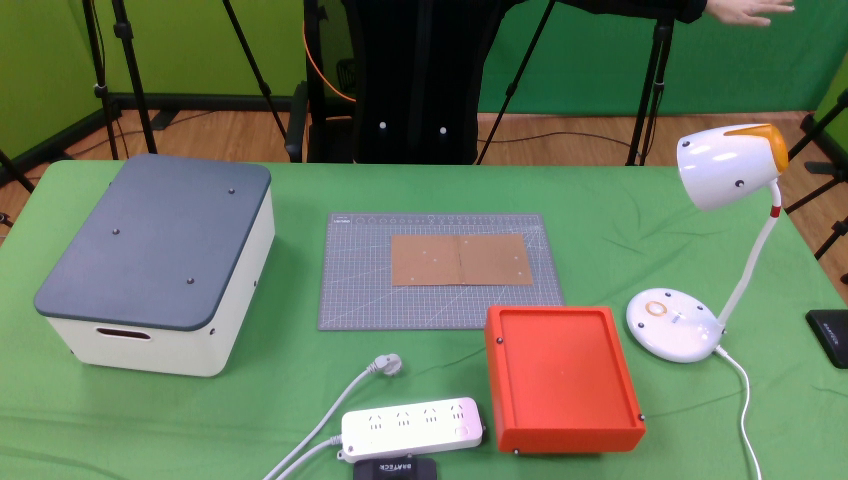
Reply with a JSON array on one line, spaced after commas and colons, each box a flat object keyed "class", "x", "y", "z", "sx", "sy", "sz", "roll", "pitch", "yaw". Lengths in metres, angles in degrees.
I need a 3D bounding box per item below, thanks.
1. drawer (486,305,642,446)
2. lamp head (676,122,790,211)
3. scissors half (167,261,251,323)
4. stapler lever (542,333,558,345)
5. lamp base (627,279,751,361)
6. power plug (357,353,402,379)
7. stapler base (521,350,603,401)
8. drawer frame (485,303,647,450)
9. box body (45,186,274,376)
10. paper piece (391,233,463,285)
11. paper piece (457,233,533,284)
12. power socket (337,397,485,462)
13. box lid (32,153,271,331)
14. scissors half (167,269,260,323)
[{"class": "drawer", "x": 0.202, "y": 0.200, "z": 0.919, "sx": 0.195, "sy": 0.073, "sz": 0.210, "roll": 2, "pitch": 47, "yaw": -4}, {"class": "lamp head", "x": 0.423, "y": -0.104, "z": 0.819, "sx": 0.122, "sy": 0.113, "sz": 0.112, "roll": -13, "pitch": 33, "yaw": 40}, {"class": "scissors half", "x": -0.383, "y": 0.091, "z": 1.080, "sx": 0.040, "sy": 0.013, "sz": 0.175, "roll": 25, "pitch": 52, "yaw": 29}, {"class": "stapler lever", "x": 0.225, "y": 0.181, "z": 0.928, "sx": 0.118, "sy": 0.040, "sz": 0.027, "roll": 27, "pitch": 34, "yaw": 15}, {"class": "lamp base", "x": 0.460, "y": 0.100, "z": 1.027, "sx": 0.178, "sy": 0.181, "sz": 0.160, "roll": 27, "pitch": 51, "yaw": 17}, {"class": "power plug", "x": -0.071, "y": 0.207, "z": 0.983, "sx": 0.072, "sy": 0.053, "sz": 0.035, "roll": -20, "pitch": 51, "yaw": 4}, {"class": "stapler base", "x": 0.217, "y": 0.203, "z": 0.942, "sx": 0.130, "sy": 0.024, "sz": 0.041, "roll": 26, "pitch": 33, "yaw": 16}, {"class": "drawer frame", "x": 0.204, "y": 0.202, "z": 0.917, "sx": 0.202, "sy": 0.083, "sz": 0.212, "roll": 1, "pitch": 47, "yaw": -4}, {"class": "box body", "x": -0.421, "y": 0.037, "z": 1.031, "sx": 0.254, "sy": 0.161, "sz": 0.362, "roll": 6, "pitch": 46, "yaw": 1}, {"class": "paper piece", "x": 0.004, "y": 0.035, "z": 1.170, "sx": 0.135, "sy": 0.004, "sz": 0.135, "roll": 1, "pitch": 46, "yaw": -4}, {"class": "paper piece", "x": 0.136, "y": 0.035, "z": 1.182, "sx": 0.136, "sy": 0.009, "sz": 0.137, "roll": 2, "pitch": 45, "yaw": -7}, {"class": "power socket", "x": -0.018, "y": 0.285, "z": 0.915, "sx": 0.227, "sy": 0.033, "sz": 0.071, "roll": -4, "pitch": 46, "yaw": -8}, {"class": "box lid", "x": -0.417, "y": -0.015, "z": 0.980, "sx": 0.263, "sy": 0.015, "sz": 0.369, "roll": 6, "pitch": 46, "yaw": 1}, {"class": "scissors half", "x": -0.369, "y": 0.101, "z": 1.069, "sx": 0.175, "sy": 0.013, "sz": 0.040, "roll": -28, "pitch": 53, "yaw": -22}]
